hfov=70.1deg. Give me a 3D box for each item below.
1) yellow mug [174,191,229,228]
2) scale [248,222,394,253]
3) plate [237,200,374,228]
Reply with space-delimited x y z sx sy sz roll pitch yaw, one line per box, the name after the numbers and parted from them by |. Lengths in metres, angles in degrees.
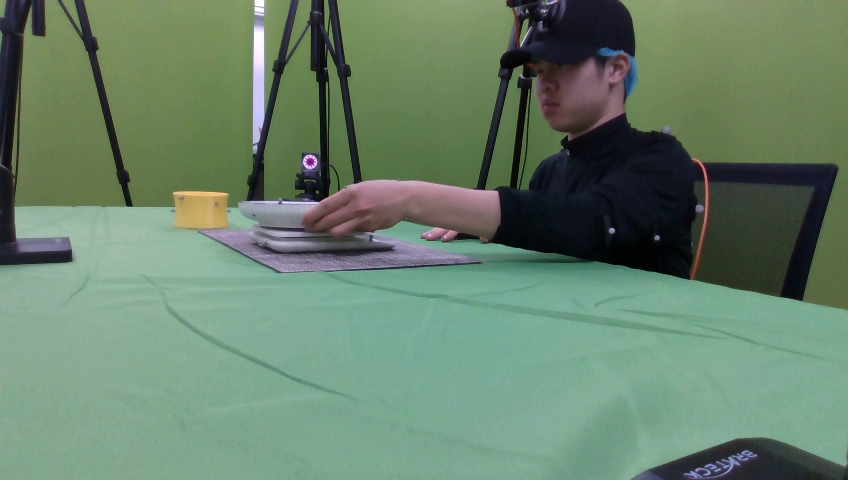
-0.427 -0.063 1.189 0.100 0.064 0.131 5 7 14 | yellow mug
-0.162 -0.006 0.954 0.202 0.031 0.148 -1 9 -32 | scale
-0.182 -0.042 0.942 0.209 0.038 0.209 1 5 0 | plate
